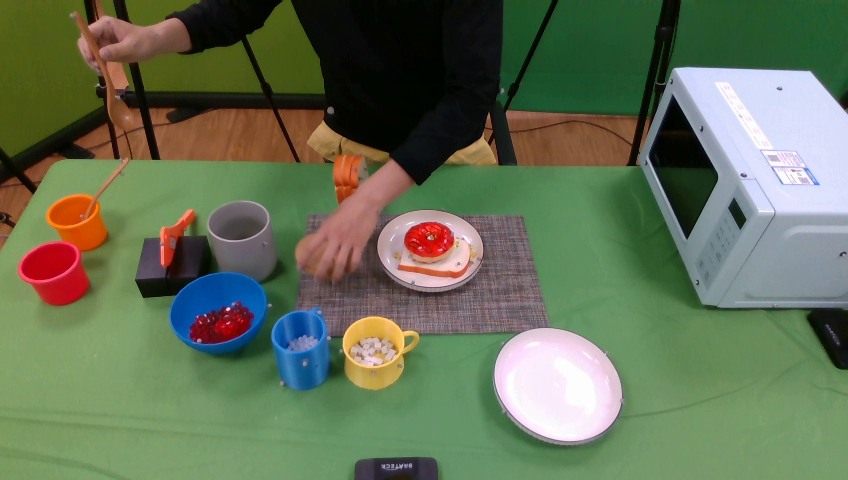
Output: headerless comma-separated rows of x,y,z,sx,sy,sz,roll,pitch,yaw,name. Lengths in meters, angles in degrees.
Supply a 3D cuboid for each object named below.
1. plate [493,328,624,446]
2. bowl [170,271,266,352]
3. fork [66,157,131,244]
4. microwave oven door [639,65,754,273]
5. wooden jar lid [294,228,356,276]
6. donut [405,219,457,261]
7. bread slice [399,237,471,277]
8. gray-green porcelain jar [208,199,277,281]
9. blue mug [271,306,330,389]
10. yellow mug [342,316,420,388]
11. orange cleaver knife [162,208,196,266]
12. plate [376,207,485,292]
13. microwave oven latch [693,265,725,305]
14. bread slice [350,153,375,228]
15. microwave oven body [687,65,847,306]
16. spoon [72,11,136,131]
0.213,0.236,0.974,0.208,0.039,0.206,2,46,-2,plate
-0.333,0.132,1.006,0.151,0.077,0.150,2,46,-2,bowl
-0.608,-0.074,1.132,0.207,0.019,0.028,-52,50,10,fork
0.522,-0.147,1.192,0.039,0.245,0.353,0,47,-3,microwave oven door
-0.175,0.023,1.072,0.108,0.021,0.107,6,44,-5,wooden jar lid
0.012,-0.001,1.140,0.099,0.048,0.098,0,44,0,donut
0.025,0.025,1.161,0.131,0.019,0.104,7,47,8,bread slice
-0.323,0.007,1.092,0.106,0.127,0.105,2,46,-2,gray-green porcelain jar
-0.188,0.163,0.969,0.082,0.106,0.116,15,47,10,blue mug
-0.068,0.177,0.990,0.131,0.064,0.099,-15,50,-19,yellow mug
-0.454,-0.010,1.129,0.012,0.077,0.210,-2,17,-6,orange cleaver knife
0.012,0.021,1.158,0.209,0.038,0.208,2,47,-2,plate
0.523,0.082,1.115,0.030,0.029,0.078,2,46,-1,microwave oven latch
-0.122,-0.103,1.206,0.018,0.135,0.106,-3,47,8,bread slice
0.669,-0.111,1.176,0.326,0.261,0.439,0,46,-3,microwave oven body
-0.506,-0.264,0.962,0.021,0.195,0.041,9,39,20,spoon
